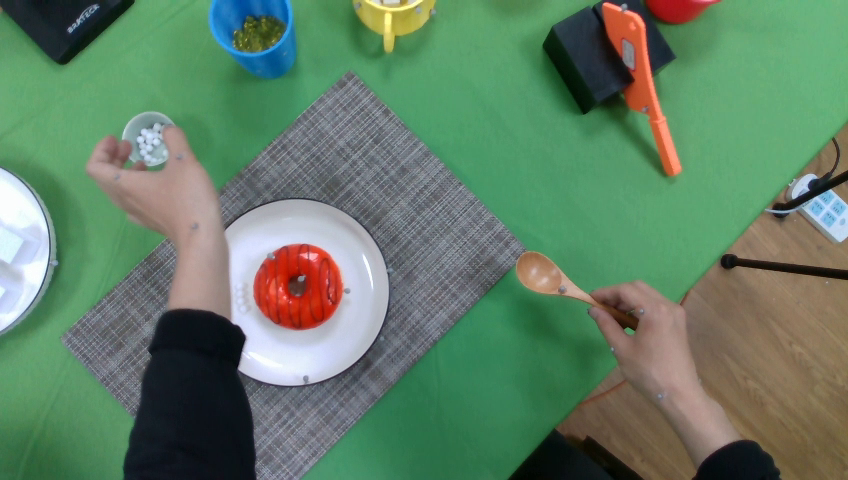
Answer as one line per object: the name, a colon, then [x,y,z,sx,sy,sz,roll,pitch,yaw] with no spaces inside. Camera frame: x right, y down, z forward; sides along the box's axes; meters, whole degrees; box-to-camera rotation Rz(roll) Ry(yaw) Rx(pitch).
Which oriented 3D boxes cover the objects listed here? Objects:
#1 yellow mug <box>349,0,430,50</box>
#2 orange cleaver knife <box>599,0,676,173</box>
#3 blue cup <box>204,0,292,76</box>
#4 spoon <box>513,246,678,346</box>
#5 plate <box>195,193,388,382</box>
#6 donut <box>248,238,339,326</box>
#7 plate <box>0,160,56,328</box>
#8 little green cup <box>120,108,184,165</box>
yellow mug: [-0.042,-0.285,0.696,0.100,0.064,0.130,4,87,-2]
orange cleaver knife: [0.243,-0.173,0.691,0.012,0.076,0.213,-29,117,-2]
blue cup: [-0.185,-0.228,0.669,0.093,0.100,0.092,0,86,-4]
spoon: [0.181,0.063,0.639,0.193,0.022,0.041,29,77,7]
plate: [-0.144,0.052,0.678,0.209,0.038,0.208,0,86,-2]
donut: [-0.142,0.046,0.667,0.099,0.048,0.099,0,88,-2]
plate: [-0.509,0.007,0.670,0.208,0.039,0.207,0,86,-2]
little green cup: [-0.305,-0.114,0.687,0.061,0.038,0.061,0,85,-2]
